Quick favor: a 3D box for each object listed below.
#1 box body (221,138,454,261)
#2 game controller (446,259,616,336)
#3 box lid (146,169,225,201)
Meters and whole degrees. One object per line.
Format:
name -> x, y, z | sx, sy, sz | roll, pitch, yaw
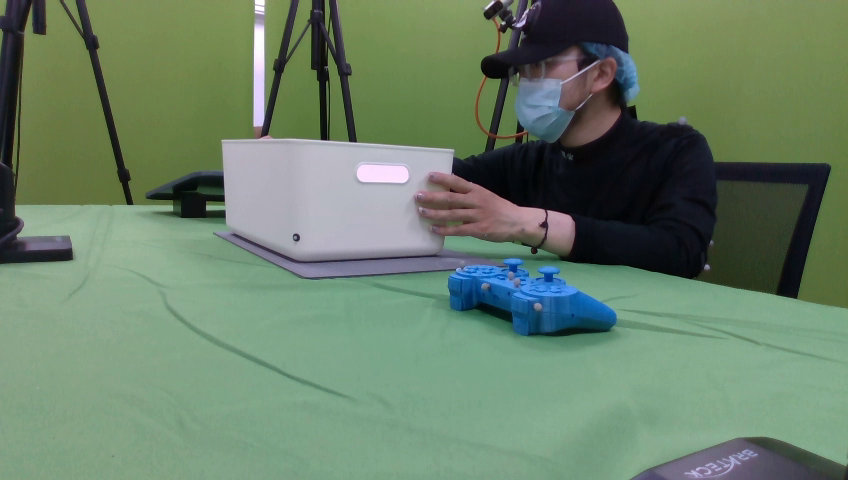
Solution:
box body -> -0.152, -0.074, 0.963 | 0.255, 0.160, 0.362 | -3, 9, -33
game controller -> 0.091, 0.048, 0.562 | 0.097, 0.051, 0.154 | -6, 10, -32
box lid -> -0.420, -0.120, 1.412 | 0.262, 0.015, 0.373 | -12, -6, 41
